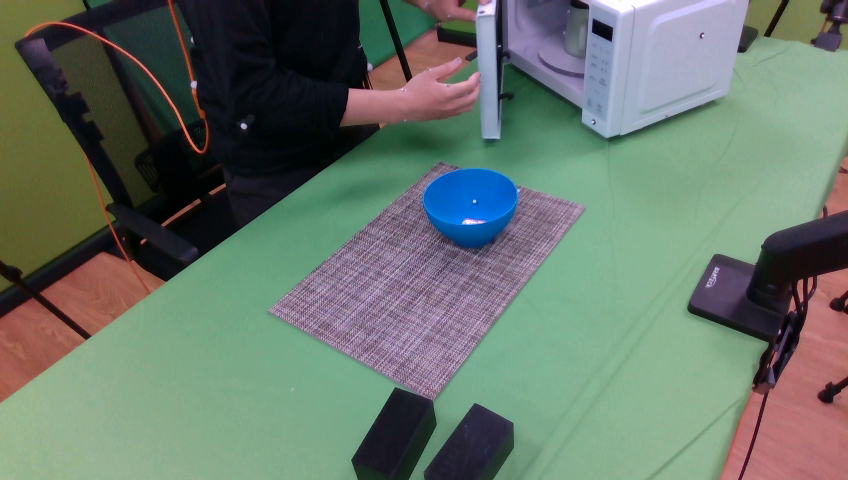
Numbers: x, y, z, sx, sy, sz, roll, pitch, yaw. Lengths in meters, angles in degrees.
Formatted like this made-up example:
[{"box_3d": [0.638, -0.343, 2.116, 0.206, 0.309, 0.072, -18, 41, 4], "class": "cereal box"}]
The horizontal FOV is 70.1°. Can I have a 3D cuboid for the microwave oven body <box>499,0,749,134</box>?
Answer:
[{"box_3d": [0.382, -0.444, 1.246, 0.327, 0.261, 0.437, -22, 42, -16], "class": "microwave oven body"}]

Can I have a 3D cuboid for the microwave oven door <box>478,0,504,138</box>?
[{"box_3d": [0.138, -0.403, 1.224, 0.039, 0.245, 0.354, -1, 41, 9], "class": "microwave oven door"}]

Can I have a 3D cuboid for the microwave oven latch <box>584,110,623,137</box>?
[{"box_3d": [0.337, -0.222, 1.142, 0.030, 0.029, 0.078, -21, 42, -14], "class": "microwave oven latch"}]

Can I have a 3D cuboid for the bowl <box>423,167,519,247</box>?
[{"box_3d": [0.075, -0.041, 0.958, 0.151, 0.077, 0.150, -4, 40, 4], "class": "bowl"}]
